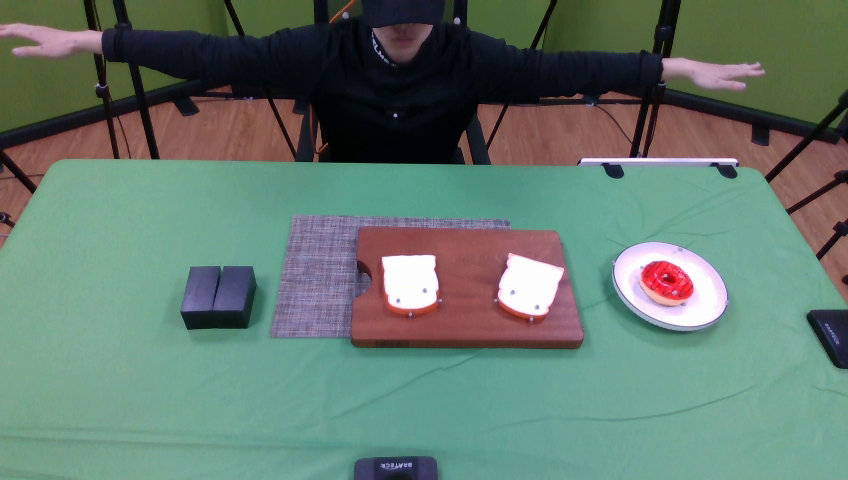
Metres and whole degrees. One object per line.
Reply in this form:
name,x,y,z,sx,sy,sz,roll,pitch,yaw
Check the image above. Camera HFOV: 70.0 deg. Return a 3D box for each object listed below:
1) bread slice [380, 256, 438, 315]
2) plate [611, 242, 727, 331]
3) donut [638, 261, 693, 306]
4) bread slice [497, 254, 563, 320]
bread slice,-0.024,0.079,1.087,0.105,0.019,0.130,-3,45,-5
plate,0.455,0.090,1.138,0.209,0.038,0.208,3,45,-2
donut,0.451,0.081,1.131,0.099,0.048,0.098,4,44,-3
bread slice,0.189,0.087,1.095,0.107,0.018,0.134,15,45,10
